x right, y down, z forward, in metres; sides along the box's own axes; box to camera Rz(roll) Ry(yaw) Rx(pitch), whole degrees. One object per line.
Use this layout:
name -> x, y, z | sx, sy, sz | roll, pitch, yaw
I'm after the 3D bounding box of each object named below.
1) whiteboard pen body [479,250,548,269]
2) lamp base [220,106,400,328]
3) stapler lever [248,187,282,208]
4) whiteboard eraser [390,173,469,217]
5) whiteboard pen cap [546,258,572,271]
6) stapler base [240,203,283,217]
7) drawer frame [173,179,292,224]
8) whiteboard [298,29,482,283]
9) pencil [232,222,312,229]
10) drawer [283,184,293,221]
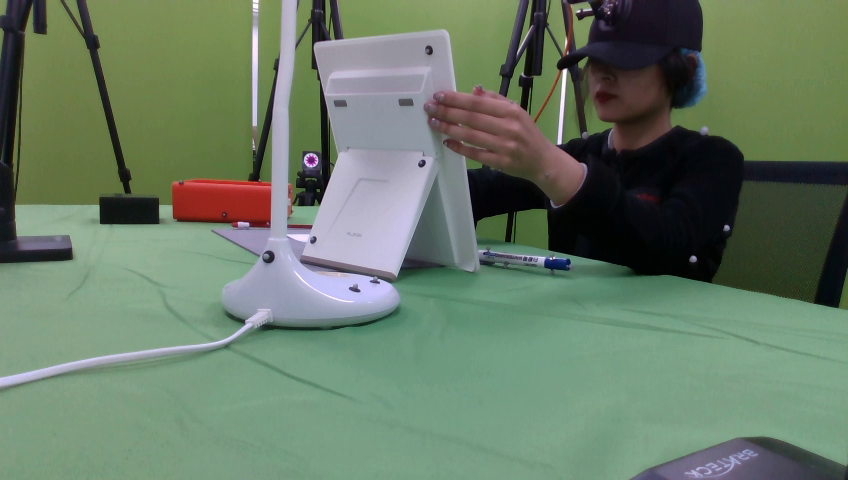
whiteboard pen body -> 0.129, 0.027, 0.827 | 0.140, 0.017, 0.017 | 6, 8, 39
lamp base -> -0.101, -0.023, 0.531 | 0.160, 0.180, 0.179 | 4, 10, 10
stapler lever -> -0.341, -0.092, 1.307 | 0.027, 0.040, 0.118 | 20, 5, 12
whiteboard eraser -> 0.004, -0.060, 0.810 | 0.112, 0.055, 0.042 | 5, 31, 42
whiteboard pen cap -> 0.176, 0.032, 0.790 | 0.033, 0.018, 0.018 | 3, 6, 37
stapler base -> -0.349, -0.066, 1.309 | 0.041, 0.024, 0.131 | 20, 7, 11
drawer frame -> -0.400, -0.086, 1.299 | 0.214, 0.082, 0.201 | 1, 8, -8
whiteboard -> -0.075, -0.082, 0.741 | 0.216, 0.305, 0.144 | 9, 30, 37
pencil -> -0.261, -0.025, 1.140 | 0.195, 0.012, 0.012 | 1, 7, -25
drawer -> -0.396, -0.085, 1.301 | 0.212, 0.073, 0.194 | 1, 8, -7
